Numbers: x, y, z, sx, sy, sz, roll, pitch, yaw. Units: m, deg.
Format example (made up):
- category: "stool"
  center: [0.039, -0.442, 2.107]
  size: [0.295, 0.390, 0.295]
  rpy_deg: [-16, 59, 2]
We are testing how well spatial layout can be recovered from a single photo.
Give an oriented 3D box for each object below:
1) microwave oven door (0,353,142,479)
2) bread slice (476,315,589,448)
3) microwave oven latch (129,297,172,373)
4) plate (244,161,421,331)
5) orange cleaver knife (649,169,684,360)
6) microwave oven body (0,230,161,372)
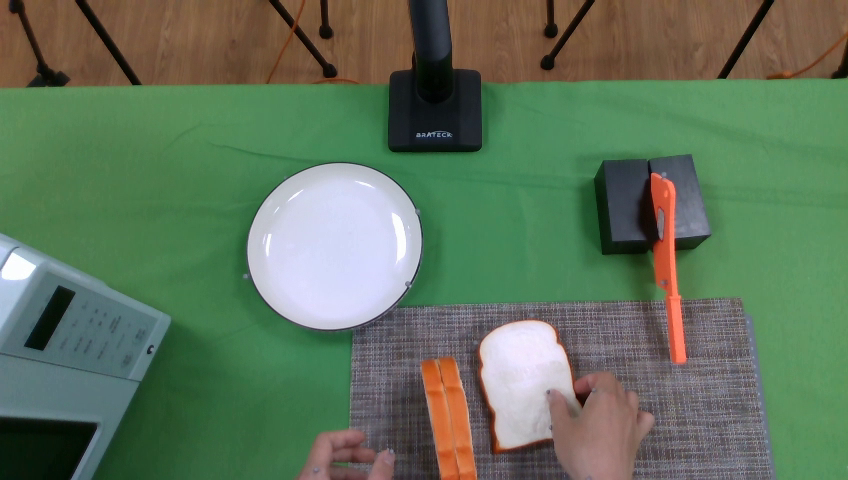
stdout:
- category: "microwave oven door"
  center: [-0.400, 0.269, 0.521]
  size: [0.039, 0.245, 0.354]
  rpy_deg: [20, 74, 9]
- category: "bread slice"
  center: [0.115, 0.151, 0.664]
  size: [0.107, 0.018, 0.133]
  rpy_deg: [-11, 77, 1]
- category: "microwave oven latch"
  center: [-0.313, 0.107, 0.676]
  size: [0.030, 0.029, 0.079]
  rpy_deg: [22, 75, 8]
- category: "plate"
  center: [-0.105, 0.007, 0.718]
  size: [0.207, 0.039, 0.206]
  rpy_deg: [0, 72, 2]
- category: "orange cleaver knife"
  center: [0.267, 0.025, 0.674]
  size: [0.012, 0.077, 0.211]
  rpy_deg: [-5, 93, 3]
- category: "microwave oven body"
  center: [-0.520, 0.185, 0.558]
  size: [0.325, 0.261, 0.440]
  rpy_deg: [20, 75, 8]
